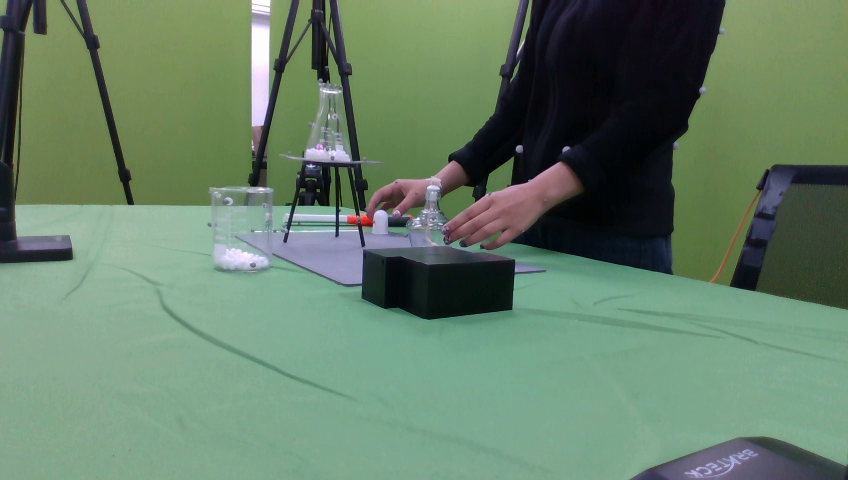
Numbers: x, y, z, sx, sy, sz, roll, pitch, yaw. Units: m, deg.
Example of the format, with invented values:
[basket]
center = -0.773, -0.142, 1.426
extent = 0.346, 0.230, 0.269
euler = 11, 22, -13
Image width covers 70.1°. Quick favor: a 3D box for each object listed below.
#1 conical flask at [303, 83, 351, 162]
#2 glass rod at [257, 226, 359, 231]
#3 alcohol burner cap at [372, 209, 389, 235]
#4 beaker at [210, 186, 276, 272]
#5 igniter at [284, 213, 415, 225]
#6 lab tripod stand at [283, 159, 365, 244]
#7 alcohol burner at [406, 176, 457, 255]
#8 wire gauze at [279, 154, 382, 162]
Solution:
[conical flask]
center = -0.151, -0.186, 0.963
extent = 0.075, 0.122, 0.075
euler = 4, 6, 0
[glass rod]
center = -0.216, -0.022, 1.151
extent = 0.201, 0.008, 0.008
euler = -2, 8, -28
[alcohol burner cap]
center = -0.082, -0.035, 1.143
extent = 0.034, 0.048, 0.034
euler = 3, 8, 0
[beaker]
center = -0.224, -0.014, 0.738
extent = 0.084, 0.100, 0.074
euler = 4, 7, 16
[igniter]
center = -0.154, -0.045, 1.282
extent = 0.278, 0.025, 0.057
euler = 0, -2, -20
[lab tripod stand]
center = -0.151, -0.063, 0.983
extent = 0.148, 0.131, 0.148
euler = 4, 7, 0
[alcohol burner]
center = 0.012, -0.038, 0.919
extent = 0.078, 0.119, 0.078
euler = 2, 5, 0
[wire gauze]
center = -0.149, -0.128, 0.974
extent = 0.124, 0.011, 0.122
euler = 6, 6, 41
